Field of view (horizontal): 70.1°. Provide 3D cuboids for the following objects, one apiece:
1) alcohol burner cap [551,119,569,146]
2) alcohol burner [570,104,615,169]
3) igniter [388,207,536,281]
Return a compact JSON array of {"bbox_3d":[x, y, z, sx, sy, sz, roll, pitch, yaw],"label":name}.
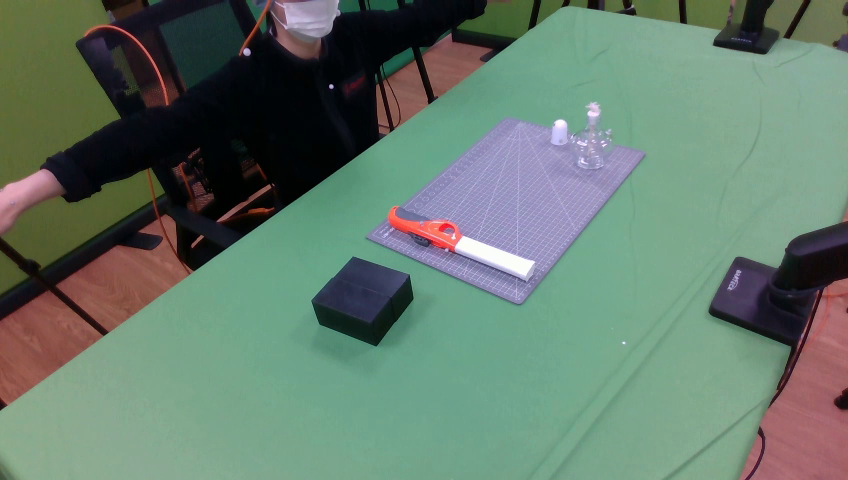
[{"bbox_3d":[0.261,-0.207,1.156,0.034,0.048,0.033,-5,41,5],"label":"alcohol burner cap"},{"bbox_3d":[0.299,-0.186,1.071,0.078,0.119,0.077,-6,41,6],"label":"alcohol burner"},{"bbox_3d":[0.049,0.001,0.954,0.274,0.025,0.057,22,59,31],"label":"igniter"}]
